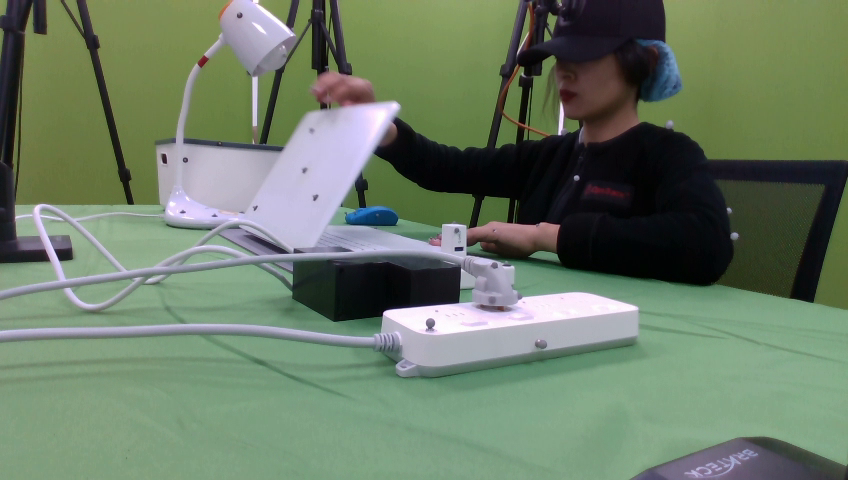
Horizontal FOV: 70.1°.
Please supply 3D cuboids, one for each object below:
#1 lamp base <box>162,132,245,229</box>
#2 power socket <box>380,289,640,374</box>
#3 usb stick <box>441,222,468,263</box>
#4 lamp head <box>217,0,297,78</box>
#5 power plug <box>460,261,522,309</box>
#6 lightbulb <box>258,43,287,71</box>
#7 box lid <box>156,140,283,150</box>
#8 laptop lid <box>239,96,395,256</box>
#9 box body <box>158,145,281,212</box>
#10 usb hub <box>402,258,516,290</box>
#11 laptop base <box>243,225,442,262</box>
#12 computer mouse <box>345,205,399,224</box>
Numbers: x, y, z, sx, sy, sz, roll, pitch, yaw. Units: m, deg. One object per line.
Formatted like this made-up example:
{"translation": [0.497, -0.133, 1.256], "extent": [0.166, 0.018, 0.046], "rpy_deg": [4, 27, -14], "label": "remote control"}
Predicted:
{"translation": [-0.419, -0.116, 1.156], "extent": [0.179, 0.180, 0.160], "rpy_deg": [0, 7, 0], "label": "lamp base"}
{"translation": [0.072, 0.064, 0.461], "extent": [0.228, 0.032, 0.072], "rpy_deg": [-3, 7, -30], "label": "power socket"}
{"translation": [0.034, 0.009, 0.685], "extent": [0.021, 0.059, 0.027], "rpy_deg": [-3, 10, -30], "label": "usb stick"}
{"translation": [-0.315, -0.372, 1.102], "extent": [0.123, 0.112, 0.112], "rpy_deg": [41, 2, -9], "label": "lamp head"}
{"translation": [0.043, 0.043, 0.444], "extent": [0.035, 0.052, 0.073], "rpy_deg": [-4, 7, 45], "label": "power plug"}
{"translation": [-0.295, -0.358, 1.102], "extent": [0.059, 0.107, 0.059], "rpy_deg": [-37, 1, 1], "label": "lightbulb"}
{"translation": [-0.409, -0.212, 1.404], "extent": [0.373, 0.015, 0.262], "rpy_deg": [-2, 8, -32], "label": "box lid"}
{"translation": [-0.176, -0.104, 0.900], "extent": [0.013, 0.241, 0.355], "rpy_deg": [32, -8, -30], "label": "laptop lid"}
{"translation": [-0.410, -0.139, 1.414], "extent": [0.366, 0.160, 0.253], "rpy_deg": [-3, 9, -33], "label": "box body"}
{"translation": [0.042, 0.038, 0.690], "extent": [0.126, 0.025, 0.049], "rpy_deg": [-2, 9, -30], "label": "usb hub"}
{"translation": [-0.127, 0.003, 0.946], "extent": [0.237, 0.023, 0.352], "rpy_deg": [2, 6, -31], "label": "laptop base"}
{"translation": [-0.114, -0.055, 1.336], "extent": [0.117, 0.041, 0.062], "rpy_deg": [-5, 11, -19], "label": "computer mouse"}
